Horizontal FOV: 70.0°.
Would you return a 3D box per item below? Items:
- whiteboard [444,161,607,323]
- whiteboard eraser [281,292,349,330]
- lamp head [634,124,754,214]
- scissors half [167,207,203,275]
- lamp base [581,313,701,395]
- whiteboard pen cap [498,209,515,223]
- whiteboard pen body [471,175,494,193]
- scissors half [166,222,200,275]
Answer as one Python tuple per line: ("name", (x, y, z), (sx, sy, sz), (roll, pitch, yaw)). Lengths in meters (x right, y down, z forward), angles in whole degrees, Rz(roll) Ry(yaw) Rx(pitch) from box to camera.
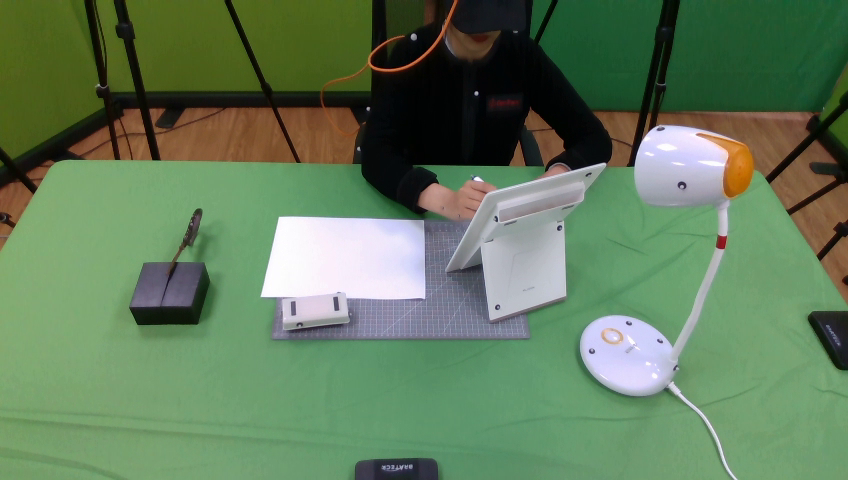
("whiteboard", (0.186, 0.025, 1.029), (0.217, 0.306, 0.143), (-14, 68, -18))
("whiteboard eraser", (-0.189, 0.124, 1.045), (0.113, 0.042, 0.055), (-6, 46, -10))
("lamp head", (0.351, -0.089, 0.776), (0.112, 0.113, 0.122), (-30, 30, -28))
("scissors half", (-0.436, 0.000, 1.104), (0.013, 0.040, 0.174), (21, 44, -14))
("lamp base", (0.361, 0.144, 0.973), (0.178, 0.181, 0.160), (34, 53, 23))
("whiteboard pen cap", (0.168, -0.050, 1.245), (0.033, 0.018, 0.018), (29, 49, 2))
("whiteboard pen body", (0.134, -0.078, 1.102), (0.017, 0.017, 0.140), (-26, 51, -26))
("scissors half", (-0.444, 0.015, 1.116), (0.013, 0.040, 0.174), (16, 27, -10))
